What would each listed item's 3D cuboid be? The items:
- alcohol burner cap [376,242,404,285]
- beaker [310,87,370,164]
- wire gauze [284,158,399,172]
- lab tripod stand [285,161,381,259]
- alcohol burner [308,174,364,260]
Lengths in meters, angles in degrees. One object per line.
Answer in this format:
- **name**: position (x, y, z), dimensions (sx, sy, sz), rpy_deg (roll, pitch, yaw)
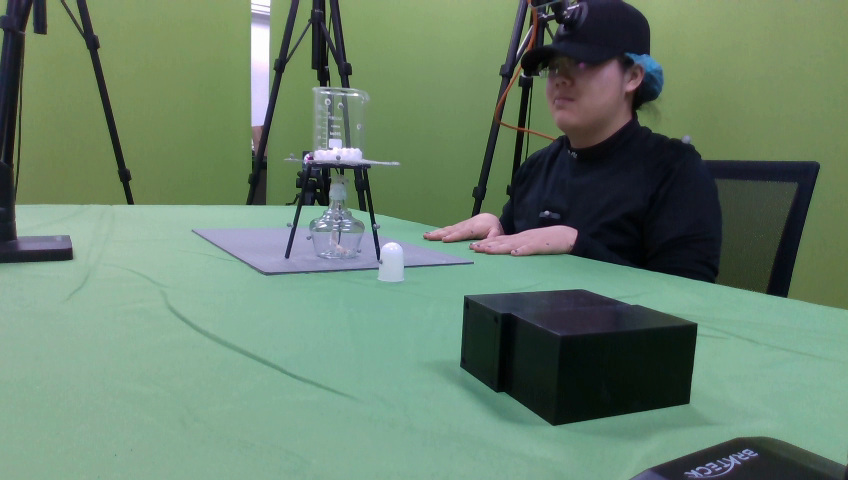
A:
- **alcohol burner cap**: position (-0.039, 0.027, 0.710), dimensions (0.034, 0.048, 0.034), rpy_deg (3, 6, 0)
- **beaker**: position (-0.116, -0.156, 0.833), dimensions (0.084, 0.100, 0.073), rpy_deg (-2, 10, -29)
- **wire gauze**: position (-0.116, -0.108, 0.835), dimensions (0.126, 0.011, 0.121), rpy_deg (0, 10, -30)
- **lab tripod stand**: position (-0.123, -0.043, 0.842), dimensions (0.148, 0.131, 0.148), rpy_deg (2, 9, 0)
- **alcohol burner**: position (-0.121, -0.033, 0.843), dimensions (0.078, 0.119, 0.078), rpy_deg (3, 5, 0)
